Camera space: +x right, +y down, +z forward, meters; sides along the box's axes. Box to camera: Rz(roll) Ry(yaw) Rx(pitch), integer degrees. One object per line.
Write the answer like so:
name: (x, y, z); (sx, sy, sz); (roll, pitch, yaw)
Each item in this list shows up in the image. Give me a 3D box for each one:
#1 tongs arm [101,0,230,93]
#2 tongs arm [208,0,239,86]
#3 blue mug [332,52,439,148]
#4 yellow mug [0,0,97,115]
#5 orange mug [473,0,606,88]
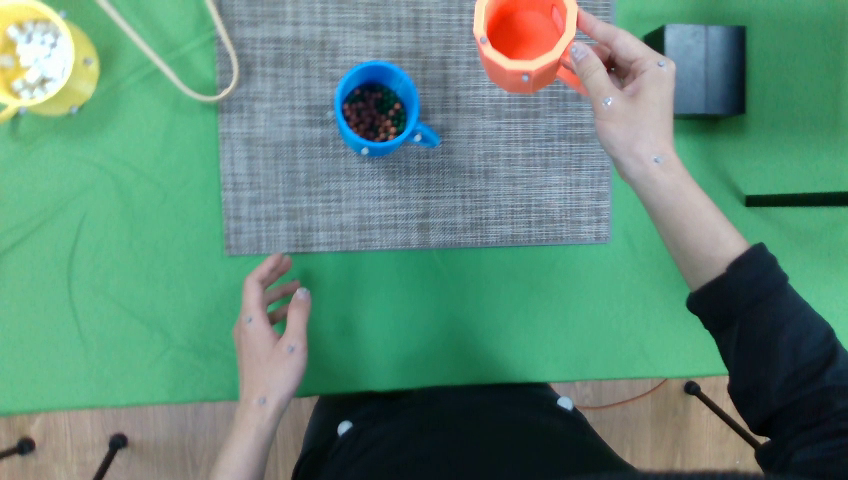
tongs arm: (-0.344, -0.295, 0.596); (0.051, 0.026, 0.387); (-41, 106, -6)
tongs arm: (-0.276, -0.344, 0.605); (0.028, 0.027, 0.389); (-28, 105, -13)
blue mug: (-0.038, -0.135, 0.635); (0.117, 0.105, 0.082); (24, 91, -9)
yellow mug: (-0.401, -0.174, 0.604); (0.100, 0.064, 0.131); (37, 90, -10)
orange mug: (0.104, -0.182, 0.544); (0.126, 0.101, 0.083); (36, 98, 9)
